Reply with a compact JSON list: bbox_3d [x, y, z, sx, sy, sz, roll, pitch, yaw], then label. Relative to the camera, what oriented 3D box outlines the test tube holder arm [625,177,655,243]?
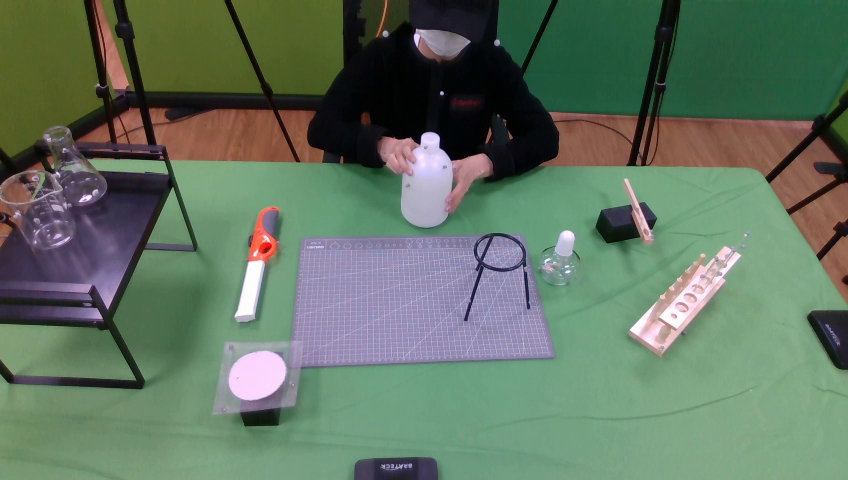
[{"bbox_3d":[0.433,-0.063,1.220,0.013,0.015,0.177,1,47,-3],"label":"test tube holder arm"}]

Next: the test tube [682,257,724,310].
[{"bbox_3d":[0.475,0.080,1.037,0.017,0.151,0.017,2,51,-2],"label":"test tube"}]

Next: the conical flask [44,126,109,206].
[{"bbox_3d":[-0.554,-0.119,0.953,0.075,0.122,0.075,2,46,-2],"label":"conical flask"}]

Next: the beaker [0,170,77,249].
[{"bbox_3d":[-0.562,-0.042,0.894,0.084,0.101,0.073,-2,47,-7],"label":"beaker"}]

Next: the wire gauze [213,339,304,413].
[{"bbox_3d":[-0.250,0.203,0.924,0.121,0.011,0.124,-1,46,-3],"label":"wire gauze"}]

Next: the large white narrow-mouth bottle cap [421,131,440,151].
[{"bbox_3d":[0.013,-0.185,1.134,0.038,0.024,0.037,3,44,-3],"label":"large white narrow-mouth bottle cap"}]

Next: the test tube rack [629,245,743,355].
[{"bbox_3d":[0.474,0.095,1.091,0.242,0.085,0.066,-34,56,-31],"label":"test tube rack"}]

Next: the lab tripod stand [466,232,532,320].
[{"bbox_3d":[0.125,0.059,1.065,0.148,0.132,0.147,1,45,0],"label":"lab tripod stand"}]

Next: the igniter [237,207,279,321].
[{"bbox_3d":[-0.309,0.036,1.136,0.057,0.025,0.274,-7,45,4],"label":"igniter"}]

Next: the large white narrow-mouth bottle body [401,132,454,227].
[{"bbox_3d":[0.007,-0.124,1.195,0.102,0.195,0.101,3,45,-2],"label":"large white narrow-mouth bottle body"}]

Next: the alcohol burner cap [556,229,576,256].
[{"bbox_3d":[0.260,0.002,1.098,0.034,0.048,0.033,3,40,-2],"label":"alcohol burner cap"}]

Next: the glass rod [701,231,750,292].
[{"bbox_3d":[0.519,0.045,1.050,0.008,0.201,0.008,0,55,0],"label":"glass rod"}]

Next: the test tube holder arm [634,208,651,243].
[{"bbox_3d":[0.428,-0.030,1.189,0.010,0.015,0.087,1,47,-2],"label":"test tube holder arm"}]

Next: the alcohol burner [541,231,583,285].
[{"bbox_3d":[0.258,0.028,1.123,0.078,0.120,0.077,1,48,-1],"label":"alcohol burner"}]
